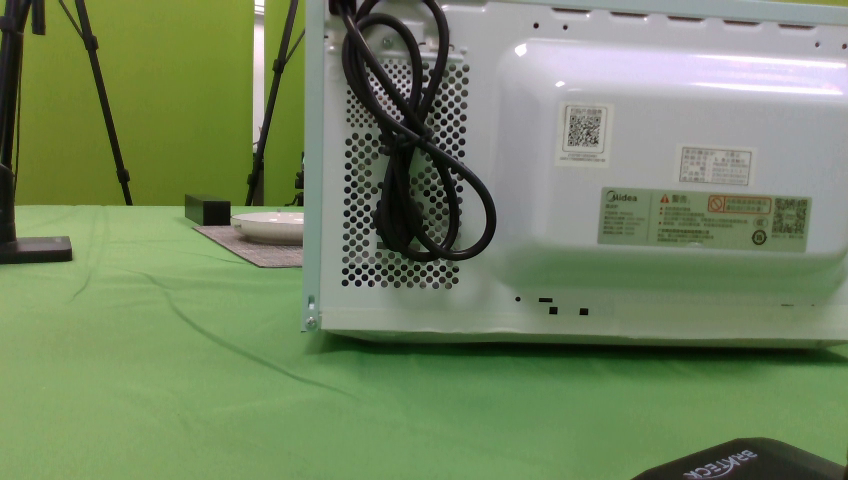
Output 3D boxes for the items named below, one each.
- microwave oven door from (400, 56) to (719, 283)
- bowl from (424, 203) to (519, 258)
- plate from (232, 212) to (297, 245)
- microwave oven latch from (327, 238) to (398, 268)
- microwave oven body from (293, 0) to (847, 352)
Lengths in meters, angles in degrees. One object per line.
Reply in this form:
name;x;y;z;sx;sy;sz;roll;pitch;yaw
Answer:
microwave oven door;0.155;-0.077;0.698;0.356;0.243;0.039;2;8;-5
bowl;0.073;-0.015;0.962;0.151;0.077;0.151;3;8;0
plate;-0.214;-0.019;1.018;0.208;0.039;0.207;2;7;0
microwave oven latch;-0.069;0.015;0.694;0.079;0.029;0.030;3;7;-3
microwave oven body;0.122;-0.055;0.550;0.442;0.260;0.325;3;7;-5
